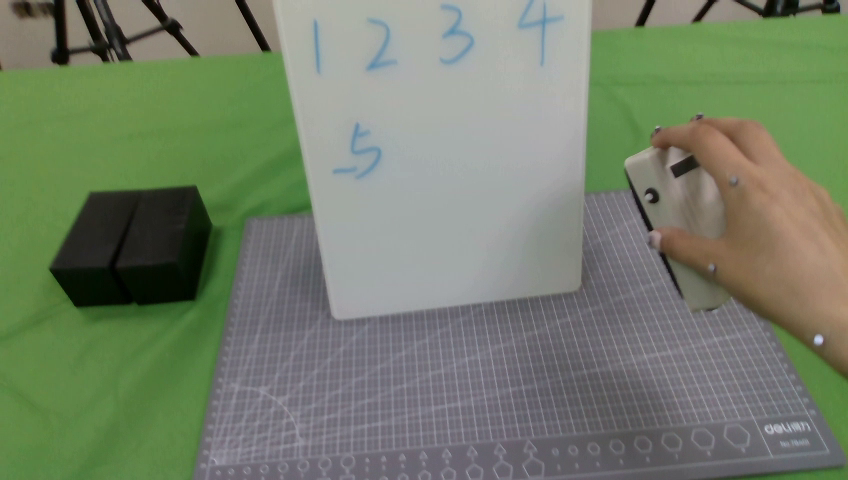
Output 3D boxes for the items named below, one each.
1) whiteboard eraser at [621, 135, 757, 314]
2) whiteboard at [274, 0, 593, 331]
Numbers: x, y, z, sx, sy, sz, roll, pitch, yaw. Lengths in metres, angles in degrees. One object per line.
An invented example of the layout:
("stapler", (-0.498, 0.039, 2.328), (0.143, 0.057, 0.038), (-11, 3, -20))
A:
("whiteboard eraser", (0.177, -0.011, 0.411), (0.055, 0.042, 0.112), (-27, 92, -27))
("whiteboard", (0.011, -0.102, 0.511), (0.217, 0.307, 0.142), (-6, 25, -2))
